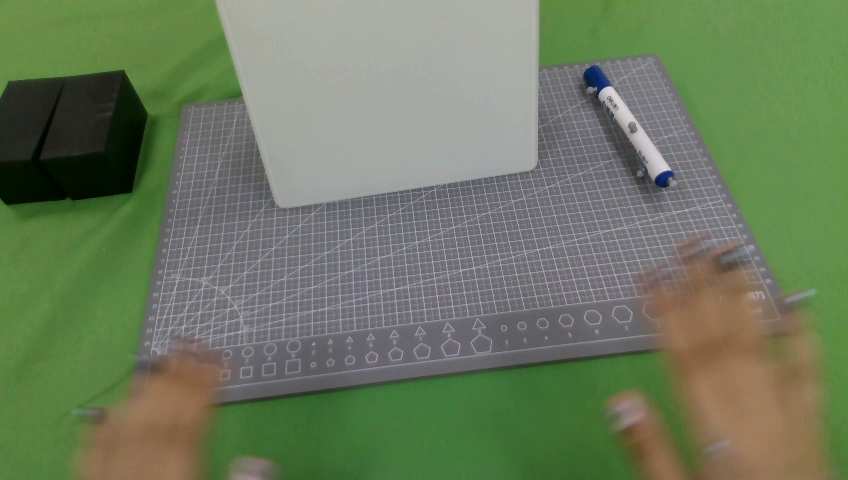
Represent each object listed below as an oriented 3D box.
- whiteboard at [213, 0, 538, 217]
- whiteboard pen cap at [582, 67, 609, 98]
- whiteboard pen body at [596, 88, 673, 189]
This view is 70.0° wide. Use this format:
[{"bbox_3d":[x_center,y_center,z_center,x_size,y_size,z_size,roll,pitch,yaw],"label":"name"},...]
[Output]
[{"bbox_3d":[-0.036,-0.198,0.459,0.217,0.308,0.142,-8,35,-2],"label":"whiteboard"},{"bbox_3d":[0.155,-0.140,0.546,0.018,0.018,0.033,-12,53,-6],"label":"whiteboard pen cap"},{"bbox_3d":[0.170,-0.096,0.510,0.017,0.017,0.139,-13,53,-6],"label":"whiteboard pen body"}]
